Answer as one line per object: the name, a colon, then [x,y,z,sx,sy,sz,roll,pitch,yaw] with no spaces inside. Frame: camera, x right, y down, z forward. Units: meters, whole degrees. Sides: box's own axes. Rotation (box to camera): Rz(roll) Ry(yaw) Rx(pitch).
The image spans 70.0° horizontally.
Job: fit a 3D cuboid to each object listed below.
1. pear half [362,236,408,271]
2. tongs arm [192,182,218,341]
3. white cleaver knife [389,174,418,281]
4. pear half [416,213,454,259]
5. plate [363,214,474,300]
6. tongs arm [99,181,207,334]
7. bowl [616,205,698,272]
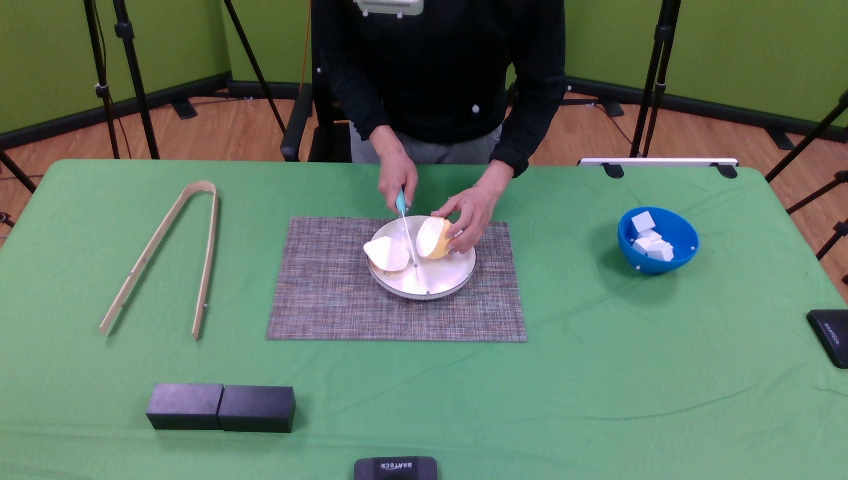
pear half: [-0.076,0.029,1.137,0.088,0.031,0.070,15,54,-8]
tongs arm: [-0.413,0.025,1.140,0.028,0.028,0.385,-5,47,-7]
white cleaver knife: [-0.041,-0.031,1.154,0.021,0.066,0.284,-10,40,-2]
pear half: [0.033,-0.013,1.115,0.056,0.110,0.076,2,55,-31]
plate: [-0.010,0.036,1.146,0.208,0.039,0.206,3,46,-2]
tongs arm: [-0.493,0.018,1.132,0.051,0.026,0.382,7,45,0]
bowl: [0.443,0.010,1.182,0.151,0.077,0.150,2,46,-2]
